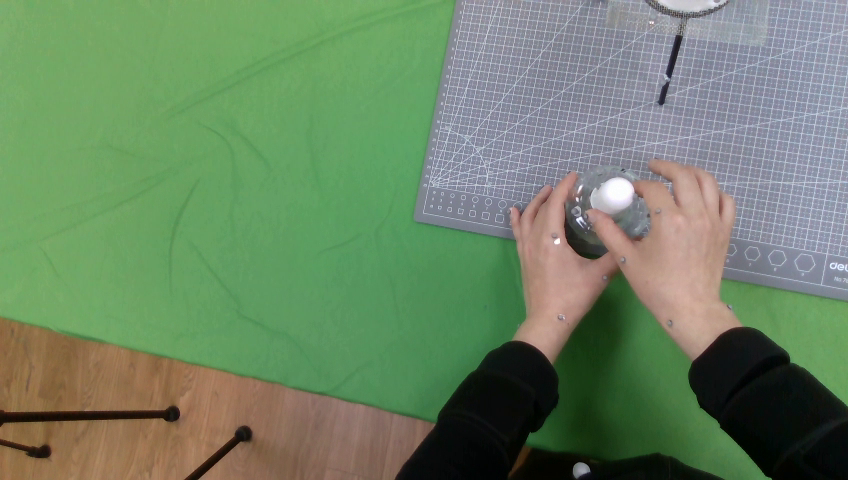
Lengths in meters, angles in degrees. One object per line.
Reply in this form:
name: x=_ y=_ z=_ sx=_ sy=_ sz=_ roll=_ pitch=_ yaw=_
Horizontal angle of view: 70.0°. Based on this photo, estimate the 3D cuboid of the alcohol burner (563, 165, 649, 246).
alcohol burner: x=0.169 y=-0.034 z=0.557 sx=0.078 sy=0.119 sz=0.077 roll=-1 pitch=85 yaw=10

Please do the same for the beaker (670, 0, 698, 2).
beaker: x=0.199 y=-0.226 z=0.439 sx=0.083 sy=0.100 sz=0.074 roll=24 pitch=91 yaw=12

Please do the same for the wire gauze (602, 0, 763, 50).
wire gauze: x=0.213 y=-0.220 z=0.485 sx=0.125 sy=0.011 sz=0.121 roll=10 pitch=91 yaw=9

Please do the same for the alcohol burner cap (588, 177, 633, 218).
alcohol burner cap: x=0.162 y=-0.039 z=0.520 sx=0.034 sy=0.048 sz=0.034 roll=0 pitch=84 yaw=4

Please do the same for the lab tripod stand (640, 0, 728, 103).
lab tripod stand: x=0.226 y=-0.214 z=0.549 sx=0.148 sy=0.132 sz=0.148 roll=-1 pitch=87 yaw=10
